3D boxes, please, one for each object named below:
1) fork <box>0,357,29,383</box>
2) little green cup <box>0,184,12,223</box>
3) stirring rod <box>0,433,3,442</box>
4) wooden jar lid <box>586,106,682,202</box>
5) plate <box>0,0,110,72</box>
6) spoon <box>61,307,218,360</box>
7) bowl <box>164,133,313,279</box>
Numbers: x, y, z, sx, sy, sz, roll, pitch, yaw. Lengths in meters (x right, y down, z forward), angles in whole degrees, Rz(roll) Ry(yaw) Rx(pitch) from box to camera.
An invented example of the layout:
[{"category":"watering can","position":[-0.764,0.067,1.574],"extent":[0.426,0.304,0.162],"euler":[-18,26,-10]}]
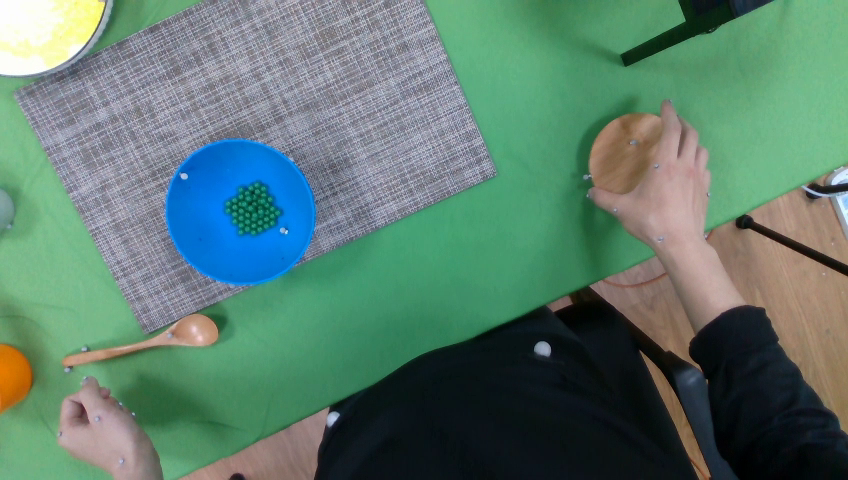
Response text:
[{"category":"fork","position":[-0.540,0.163,0.640],"extent":[0.208,0.018,0.028],"euler":[-13,105,-44]},{"category":"little green cup","position":[-0.489,-0.040,0.664],"extent":[0.061,0.038,0.062],"euler":[0,100,-1]},{"category":"stirring rod","position":[-0.492,0.138,0.635],"extent":[0.014,0.006,0.176],"euler":[-23,100,3]},{"category":"wooden jar lid","position":[0.238,-0.098,0.692],"extent":[0.108,0.020,0.108],"euler":[0,100,-2]},{"category":"plate","position":[-0.426,-0.279,0.628],"extent":[0.209,0.038,0.209],"euler":[0,100,-2]},{"category":"spoon","position":[-0.332,0.113,0.704],"extent":[0.194,0.021,0.042],"euler":[-14,113,0]},{"category":"bowl","position":[-0.189,-0.038,0.653],"extent":[0.151,0.076,0.152],"euler":[0,100,-2]}]
